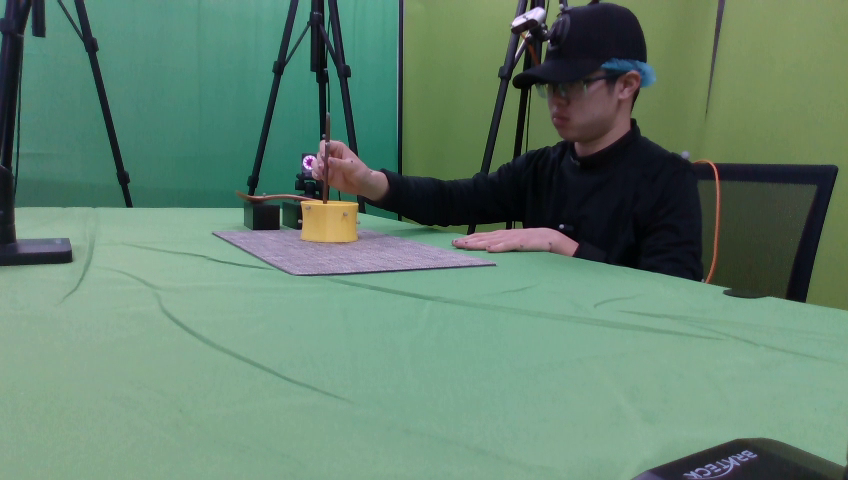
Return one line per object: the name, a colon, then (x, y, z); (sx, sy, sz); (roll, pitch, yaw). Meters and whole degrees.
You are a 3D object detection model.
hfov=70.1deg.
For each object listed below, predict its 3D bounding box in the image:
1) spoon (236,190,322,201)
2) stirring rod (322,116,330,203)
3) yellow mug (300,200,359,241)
spoon: (-0.290, -0.088, 1.248); (0.195, 0.021, 0.041); (0, 6, -32)
stirring rod: (-0.168, -0.123, 1.031); (0.006, 0.176, 0.014); (3, 2, 5)
yellow mug: (-0.156, -0.036, 1.060); (0.099, 0.064, 0.131); (6, 7, 27)
